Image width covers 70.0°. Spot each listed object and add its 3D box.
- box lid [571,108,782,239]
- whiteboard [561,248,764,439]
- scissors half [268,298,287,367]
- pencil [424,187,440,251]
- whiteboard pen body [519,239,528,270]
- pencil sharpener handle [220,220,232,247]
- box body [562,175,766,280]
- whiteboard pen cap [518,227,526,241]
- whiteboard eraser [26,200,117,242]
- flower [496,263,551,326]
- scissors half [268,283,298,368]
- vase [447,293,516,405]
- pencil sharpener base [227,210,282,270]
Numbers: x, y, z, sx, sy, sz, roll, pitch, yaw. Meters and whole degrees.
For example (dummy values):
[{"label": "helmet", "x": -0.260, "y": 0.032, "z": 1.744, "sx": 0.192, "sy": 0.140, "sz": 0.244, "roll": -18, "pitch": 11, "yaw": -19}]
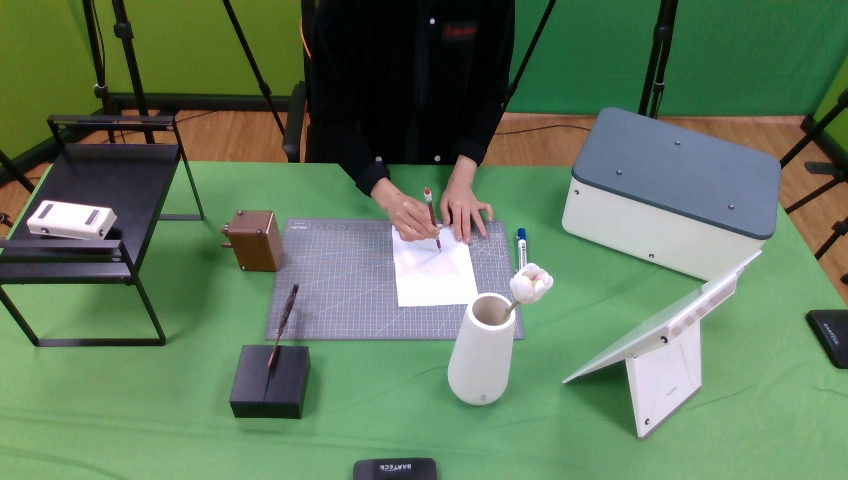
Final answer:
[{"label": "box lid", "x": 0.491, "y": -0.139, "z": 1.168, "sx": 0.370, "sy": 0.015, "sz": 0.262, "roll": 21, "pitch": 49, "yaw": 15}, {"label": "whiteboard", "x": 0.386, "y": 0.176, "z": 0.905, "sx": 0.217, "sy": 0.306, "sz": 0.143, "roll": -26, "pitch": 72, "yaw": -27}, {"label": "scissors half", "x": -0.239, "y": 0.150, "z": 0.997, "sx": 0.013, "sy": 0.040, "sz": 0.174, "roll": 24, "pitch": 24, "yaw": -14}, {"label": "pencil", "x": 0.017, "y": -0.033, "z": 1.108, "sx": 0.012, "sy": 0.195, "sz": 0.012, "roll": -4, "pitch": 55, "yaw": 7}, {"label": "whiteboard pen body", "x": 0.193, "y": 0.035, "z": 1.181, "sx": 0.017, "sy": 0.017, "sz": 0.140, "roll": 6, "pitch": 48, "yaw": 1}, {"label": "pencil sharpener handle", "x": -0.362, "y": -0.009, "z": 1.105, "sx": 0.030, "sy": 0.068, "sz": 0.036, "roll": 1, "pitch": 52, "yaw": 1}, {"label": "box body", "x": 0.486, "y": -0.088, "z": 1.222, "sx": 0.363, "sy": 0.161, "sz": 0.253, "roll": 20, "pitch": 48, "yaw": 15}, {"label": "whiteboard pen cap", "x": 0.197, "y": -0.009, "z": 1.220, "sx": 0.018, "sy": 0.018, "sz": 0.033, "roll": 5, "pitch": 50, "yaw": 1}, {"label": "whiteboard eraser", "x": -0.532, "y": -0.026, "z": 0.919, "sx": 0.113, "sy": 0.042, "sz": 0.055, "roll": 7, "pitch": 45, "yaw": 3}, {"label": "flower", "x": 0.102, "y": 0.121, "z": 0.853, "sx": 0.044, "sy": 0.363, "sz": 0.038, "roll": -2, "pitch": 64, "yaw": -10}, {"label": "scissors half", "x": -0.230, "y": 0.135, "z": 0.986, "sx": 0.013, "sy": 0.040, "sz": 0.174, "roll": 19, "pitch": 43, "yaw": -11}, {"label": "vase", "x": 0.091, "y": 0.169, "z": 0.921, "sx": 0.098, "sy": 0.201, "sz": 0.097, "roll": 3, "pitch": 47, "yaw": -3}, {"label": "pencil sharpener base", "x": -0.311, "y": 0.001, "z": 1.112, "sx": 0.077, "sy": 0.107, "sz": 0.061, "roll": 1, "pitch": 47, "yaw": 1}]
